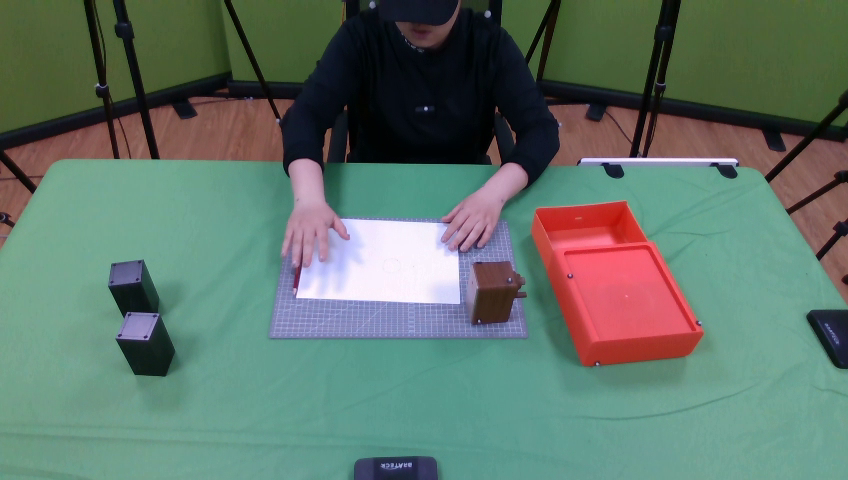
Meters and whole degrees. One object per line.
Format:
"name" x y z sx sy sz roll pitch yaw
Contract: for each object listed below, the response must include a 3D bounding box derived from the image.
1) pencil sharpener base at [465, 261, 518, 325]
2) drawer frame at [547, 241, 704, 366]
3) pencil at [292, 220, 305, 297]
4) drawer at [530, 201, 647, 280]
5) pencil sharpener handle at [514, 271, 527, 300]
"pencil sharpener base" 0.117 0.092 1.052 0.077 0.107 0.061 -3 46 -7
"drawer frame" 0.348 0.106 1.077 0.202 0.083 0.212 -4 47 -9
"pencil" -0.239 0.032 1.152 0.012 0.012 0.193 0 47 -4
"drawer" 0.328 0.025 1.159 0.195 0.073 0.210 -5 46 -9
"pencil sharpener handle" 0.168 0.081 1.051 0.031 0.068 0.035 -3 49 -7
